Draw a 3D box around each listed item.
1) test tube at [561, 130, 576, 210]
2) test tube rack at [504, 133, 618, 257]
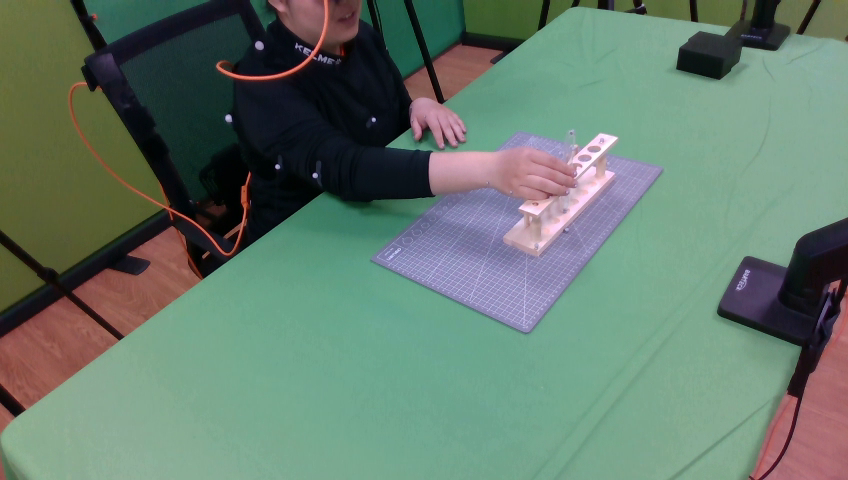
[{"bbox_3d":[0.222,-0.104,0.933,0.017,0.151,0.017,-5,45,5],"label":"test tube"},{"bbox_3d":[0.225,-0.083,0.984,0.066,0.085,0.243,25,51,34],"label":"test tube rack"}]
